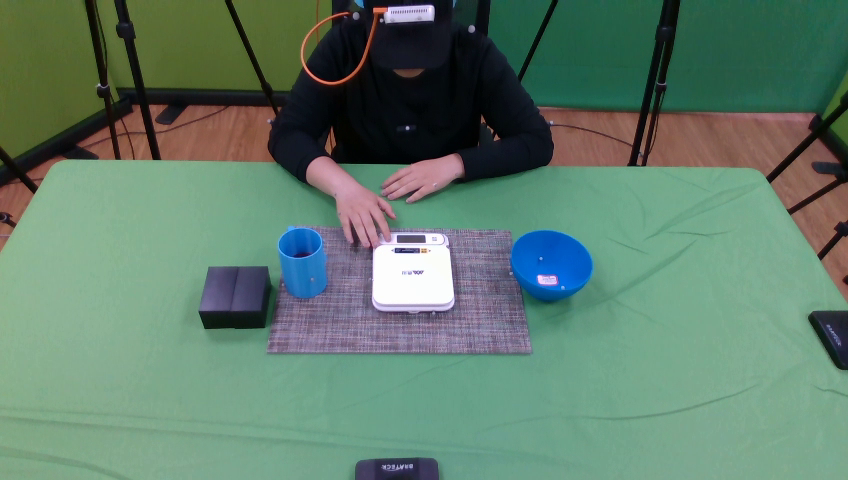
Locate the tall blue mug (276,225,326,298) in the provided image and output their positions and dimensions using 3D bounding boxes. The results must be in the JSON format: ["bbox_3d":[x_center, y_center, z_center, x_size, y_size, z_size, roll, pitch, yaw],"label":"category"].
[{"bbox_3d":[-0.228,0.033,1.083,0.107,0.108,0.077,30,53,23],"label":"tall blue mug"}]

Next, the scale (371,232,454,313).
[{"bbox_3d":[-0.022,0.051,1.134,0.149,0.032,0.199,1,46,-4],"label":"scale"}]

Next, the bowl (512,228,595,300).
[{"bbox_3d":[0.231,0.058,1.118,0.151,0.077,0.150,2,46,-2],"label":"bowl"}]
